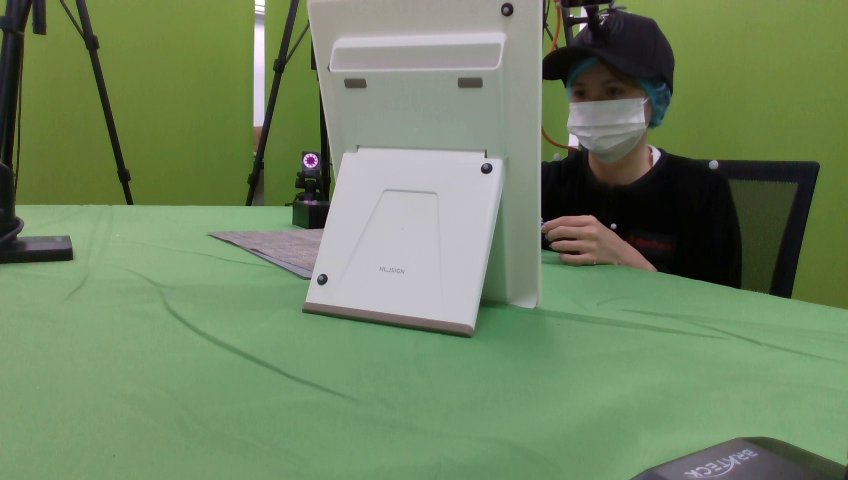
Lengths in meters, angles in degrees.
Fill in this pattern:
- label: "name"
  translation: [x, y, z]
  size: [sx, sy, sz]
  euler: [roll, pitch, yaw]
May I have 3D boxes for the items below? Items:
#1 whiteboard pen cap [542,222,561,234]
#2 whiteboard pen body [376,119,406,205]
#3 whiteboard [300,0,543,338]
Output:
- label: "whiteboard pen cap"
  translation: [0.191, -0.019, 0.925]
  size: [0.033, 0.018, 0.018]
  euler: [-3, 4, 30]
- label: "whiteboard pen body"
  translation: [-0.038, -0.088, 0.669]
  size: [0.017, 0.017, 0.140]
  euler: [4, 48, 8]
- label: "whiteboard"
  translation: [-0.020, -0.050, 0.523]
  size: [0.216, 0.305, 0.144]
  euler: [6, 28, 22]
